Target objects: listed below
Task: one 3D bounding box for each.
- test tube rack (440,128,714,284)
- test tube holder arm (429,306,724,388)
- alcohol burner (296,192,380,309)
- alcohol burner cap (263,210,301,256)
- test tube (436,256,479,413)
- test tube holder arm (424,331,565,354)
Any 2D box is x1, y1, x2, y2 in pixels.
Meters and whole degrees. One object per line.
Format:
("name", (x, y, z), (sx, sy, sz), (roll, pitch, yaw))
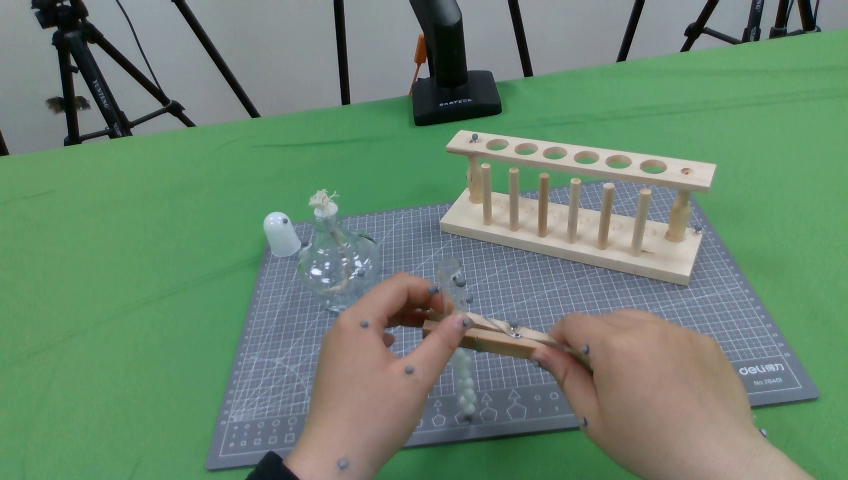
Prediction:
("test tube rack", (0.132, -0.038, 0.571), (0.241, 0.086, 0.066), (13, 45, 26))
("test tube holder arm", (0.088, 0.065, 0.374), (0.178, 0.015, 0.013), (9, 57, 16))
("alcohol burner", (-0.080, 0.005, 0.543), (0.078, 0.120, 0.077), (-5, 41, 5))
("alcohol burner cap", (-0.150, -0.010, 0.634), (0.034, 0.048, 0.033), (-5, 40, 5))
("test tube", (0.024, 0.069, 0.401), (0.017, 0.152, 0.017), (-5, 41, 5))
("test tube holder arm", (0.044, 0.065, 0.382), (0.087, 0.015, 0.010), (-1, 54, 10))
